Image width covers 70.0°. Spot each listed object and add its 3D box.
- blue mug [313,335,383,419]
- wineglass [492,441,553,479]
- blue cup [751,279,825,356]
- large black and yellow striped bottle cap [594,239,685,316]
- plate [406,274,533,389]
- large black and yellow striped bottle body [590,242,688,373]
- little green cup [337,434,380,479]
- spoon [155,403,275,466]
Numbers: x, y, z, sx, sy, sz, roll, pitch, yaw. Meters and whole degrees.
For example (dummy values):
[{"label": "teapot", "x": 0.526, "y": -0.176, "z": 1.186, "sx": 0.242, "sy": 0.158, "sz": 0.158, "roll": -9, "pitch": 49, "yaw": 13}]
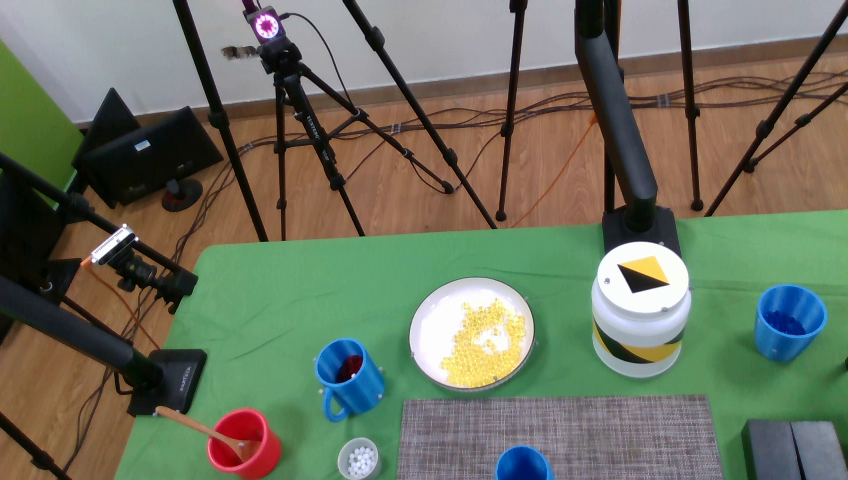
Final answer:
[{"label": "blue mug", "x": -0.124, "y": 0.223, "z": 0.949, "sx": 0.082, "sy": 0.107, "sz": 0.116, "roll": 13, "pitch": 58, "yaw": 24}, {"label": "wineglass", "x": 0.129, "y": 0.312, "z": 0.763, "sx": 0.073, "sy": 0.174, "sz": 0.073, "roll": -7, "pitch": 52, "yaw": 10}, {"label": "blue cup", "x": 0.507, "y": 0.117, "z": 0.859, "sx": 0.092, "sy": 0.101, "sz": 0.091, "roll": -9, "pitch": 52, "yaw": 12}, {"label": "large black and yellow striped bottle cap", "x": 0.287, "y": 0.048, "z": 0.811, "sx": 0.115, "sy": 0.019, "sz": 0.114, "roll": -7, "pitch": 52, "yaw": 9}, {"label": "plate", "x": 0.075, "y": 0.150, "z": 0.994, "sx": 0.209, "sy": 0.038, "sz": 0.207, "roll": -7, "pitch": 53, "yaw": 10}, {"label": "large black and yellow striped bottle body", "x": 0.307, "y": 0.098, "z": 0.876, "sx": 0.130, "sy": 0.186, "sz": 0.129, "roll": -7, "pitch": 52, "yaw": 10}, {"label": "little green cup", "x": -0.095, "y": 0.327, "z": 0.906, "sx": 0.061, "sy": 0.039, "sz": 0.061, "roll": -8, "pitch": 53, "yaw": 11}, {"label": "spoon", "x": -0.317, "y": 0.292, "z": 0.924, "sx": 0.195, "sy": 0.021, "sz": 0.041, "roll": 33, "pitch": 60, "yaw": -16}]
